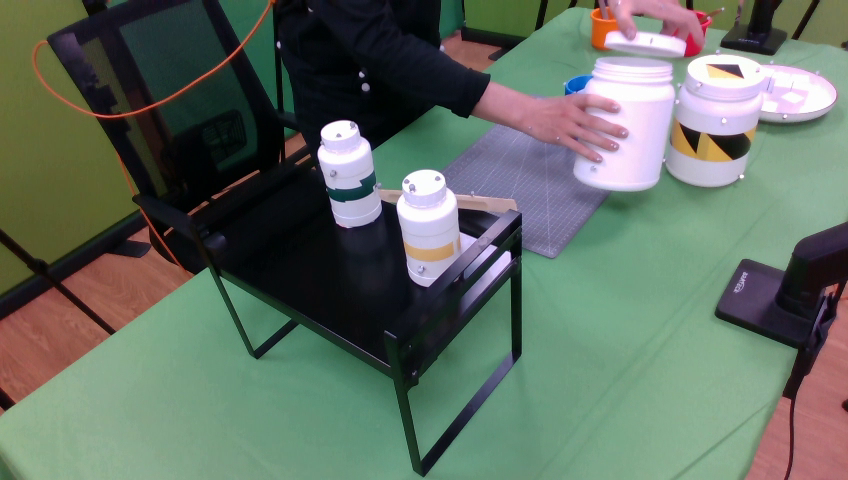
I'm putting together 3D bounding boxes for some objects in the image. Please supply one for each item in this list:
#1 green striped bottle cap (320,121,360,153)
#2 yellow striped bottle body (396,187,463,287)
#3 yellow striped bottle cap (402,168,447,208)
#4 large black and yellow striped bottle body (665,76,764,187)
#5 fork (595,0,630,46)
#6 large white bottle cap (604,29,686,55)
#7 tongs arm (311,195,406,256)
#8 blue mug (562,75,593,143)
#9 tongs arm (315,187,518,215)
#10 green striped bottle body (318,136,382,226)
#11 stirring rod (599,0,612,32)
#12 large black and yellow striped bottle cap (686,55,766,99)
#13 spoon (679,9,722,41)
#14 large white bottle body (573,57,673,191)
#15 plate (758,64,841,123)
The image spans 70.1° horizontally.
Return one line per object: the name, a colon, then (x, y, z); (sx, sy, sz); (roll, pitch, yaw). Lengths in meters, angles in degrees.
green striped bottle cap: (-0.097, -0.120, 0.699); (0.044, 0.020, 0.044); (-3, 40, 3)
yellow striped bottle body: (0.006, -0.013, 0.638); (0.063, 0.121, 0.062); (-5, 41, 4)
yellow striped bottle cap: (0.000, -0.052, 0.604); (0.044, 0.019, 0.044); (-4, 43, 5)
large black and yellow striped bottle body: (0.482, -0.196, 1.008); (0.131, 0.185, 0.130); (-4, 41, 4)
fork: (0.480, -0.556, 1.452); (0.028, 0.019, 0.207); (41, 103, 40)
large white bottle cap: (0.325, -0.292, 0.894); (0.115, 0.018, 0.114); (8, 13, -1)
tongs arm: (-0.078, -0.013, 0.944); (0.028, 0.028, 0.384); (-42, 39, -22)
blue mug: (0.298, -0.239, 1.143); (0.117, 0.106, 0.081); (-37, 48, -29)
tongs arm: (-0.028, -0.060, 0.988); (0.381, 0.027, 0.051); (10, 45, 36)
green striped bottle body: (-0.090, -0.081, 0.733); (0.063, 0.120, 0.063); (-5, 41, 4)
stirring rod: (0.437, -0.551, 1.462); (0.014, 0.006, 0.175); (-11, 83, 1)
large black and yellow striped bottle cap: (0.474, -0.258, 0.952); (0.115, 0.019, 0.114); (-5, 41, 5)
spoon: (0.606, -0.476, 1.345); (0.042, 0.021, 0.193); (-6, -3, -2)
large white bottle body: (0.306, -0.180, 0.930); (0.131, 0.185, 0.130); (2, 25, 0)
plate: (0.694, -0.283, 1.189); (0.207, 0.039, 0.206); (-4, 40, 4)
